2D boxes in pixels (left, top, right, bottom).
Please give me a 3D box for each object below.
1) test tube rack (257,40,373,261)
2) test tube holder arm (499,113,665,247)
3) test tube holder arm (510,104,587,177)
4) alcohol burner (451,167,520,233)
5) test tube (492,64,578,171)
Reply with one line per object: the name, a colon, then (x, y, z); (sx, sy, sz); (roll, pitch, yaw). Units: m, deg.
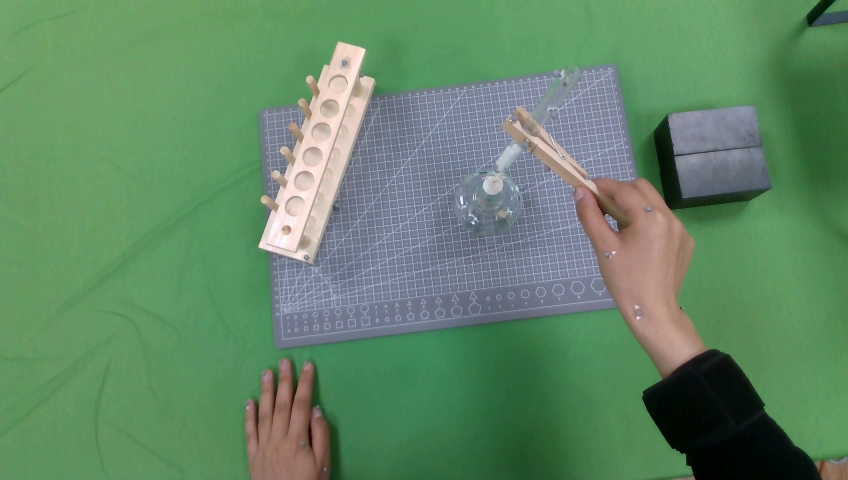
test tube rack: (-0.132, -0.105, 0.702); (0.066, 0.085, 0.241); (17, 80, 6)
test tube holder arm: (0.140, -0.052, 0.537); (0.178, 0.015, 0.013); (40, 64, 0)
test tube holder arm: (0.110, -0.086, 0.540); (0.087, 0.015, 0.010); (47, 63, 4)
alcohol burner: (0.069, -0.049, 0.671); (0.078, 0.119, 0.077); (0, 78, 1)
test tube: (0.093, -0.101, 0.532); (0.017, 0.150, 0.017); (6, 66, -14)
